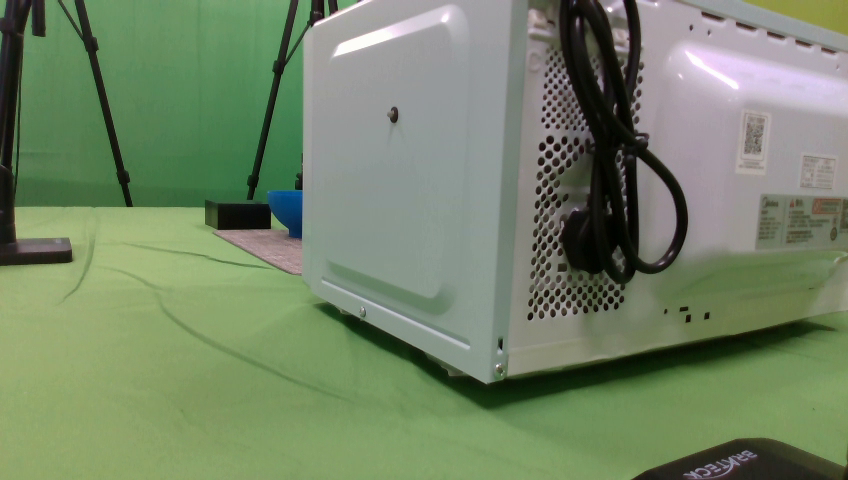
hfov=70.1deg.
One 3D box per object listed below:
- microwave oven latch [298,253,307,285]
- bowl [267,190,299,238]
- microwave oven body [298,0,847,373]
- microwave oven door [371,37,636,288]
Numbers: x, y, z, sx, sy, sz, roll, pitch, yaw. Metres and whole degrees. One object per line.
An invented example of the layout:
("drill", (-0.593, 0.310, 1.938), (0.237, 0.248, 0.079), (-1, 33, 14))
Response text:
("microwave oven latch", (-0.081, 0.027, 0.582), (0.079, 0.029, 0.030), (-1, 7, -32))
("bowl", (-0.202, -0.046, 1.069), (0.151, 0.077, 0.151), (3, 7, 0))
("microwave oven body", (0.151, -0.055, 0.543), (0.444, 0.260, 0.324), (-2, 7, -33))
("microwave oven door", (0.109, -0.080, 0.686), (0.358, 0.243, 0.039), (-2, 9, -33))
